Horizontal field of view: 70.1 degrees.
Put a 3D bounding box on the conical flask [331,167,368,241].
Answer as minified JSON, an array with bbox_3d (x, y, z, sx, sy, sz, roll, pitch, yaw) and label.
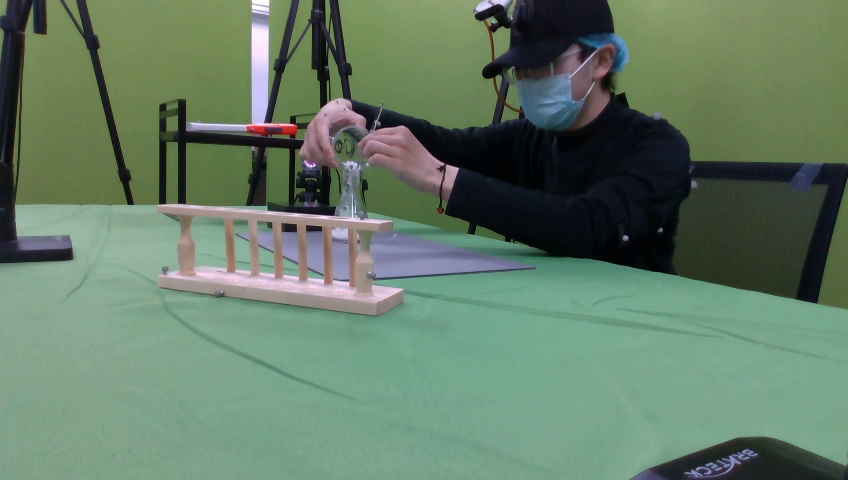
[{"bbox_3d":[-0.123,-0.061,1.018,0.075,0.122,0.075,2,7,0],"label":"conical flask"}]

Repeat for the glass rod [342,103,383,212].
[{"bbox_3d":[-0.102,-0.133,1.001,0.008,0.199,0.008,20,21,-8],"label":"glass rod"}]

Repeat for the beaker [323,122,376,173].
[{"bbox_3d":[-0.133,-0.160,1.053,0.074,0.084,0.100,2,7,-21],"label":"beaker"}]

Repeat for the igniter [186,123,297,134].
[{"bbox_3d":[-0.392,-0.248,1.341,0.057,0.025,0.278,9,14,38],"label":"igniter"}]

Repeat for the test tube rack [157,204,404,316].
[{"bbox_3d":[-0.143,0.013,0.599,0.242,0.085,0.067,5,8,19],"label":"test tube rack"}]
